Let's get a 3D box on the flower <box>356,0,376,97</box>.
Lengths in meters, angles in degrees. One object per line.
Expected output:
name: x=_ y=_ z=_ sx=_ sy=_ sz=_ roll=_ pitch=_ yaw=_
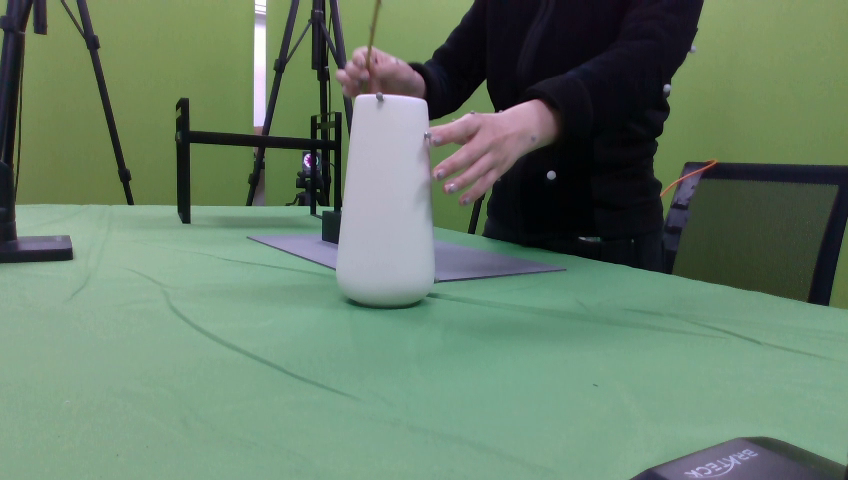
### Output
flower: x=-0.082 y=-0.237 z=0.814 sx=0.038 sy=0.361 sz=0.044 roll=39 pitch=54 yaw=16

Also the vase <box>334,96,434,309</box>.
vase: x=-0.038 y=-0.036 z=0.590 sx=0.098 sy=0.200 sz=0.098 roll=1 pitch=8 yaw=0
